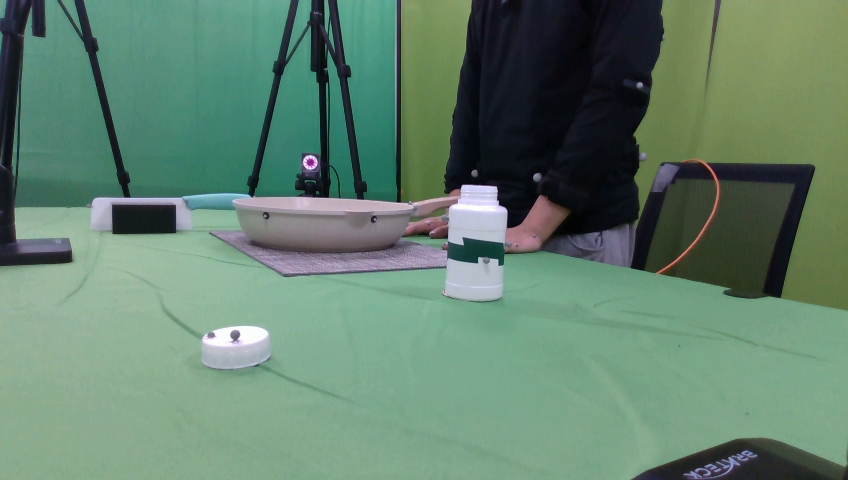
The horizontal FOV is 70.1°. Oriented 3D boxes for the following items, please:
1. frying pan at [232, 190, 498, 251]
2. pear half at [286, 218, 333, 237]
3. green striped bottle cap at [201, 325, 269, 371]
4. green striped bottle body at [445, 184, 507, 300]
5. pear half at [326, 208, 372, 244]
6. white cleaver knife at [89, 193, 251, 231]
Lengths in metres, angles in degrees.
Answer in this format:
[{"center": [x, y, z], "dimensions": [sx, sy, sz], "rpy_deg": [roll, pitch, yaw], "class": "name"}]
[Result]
[{"center": [-0.073, -0.051, 1.048], "dimensions": [0.490, 0.102, 0.305], "rpy_deg": [-11, 13, -27], "class": "frying pan"}, {"center": [-0.197, -0.022, 1.054], "dimensions": [0.088, 0.031, 0.070], "rpy_deg": [-10, 18, -44], "class": "pear half"}, {"center": [-0.129, 0.073, 0.415], "dimensions": [0.044, 0.020, 0.044], "rpy_deg": [2, 8, 0], "class": "green striped bottle cap"}, {"center": [0.055, 0.000, 0.644], "dimensions": [0.063, 0.119, 0.063], "rpy_deg": [2, 7, 0], "class": "green striped bottle body"}, {"center": [-0.128, -0.026, 1.017], "dimensions": [0.076, 0.056, 0.109], "rpy_deg": [6, 4, -19], "class": "pear half"}, {"center": [-0.454, -0.052, 1.114], "dimensions": [0.288, 0.066, 0.021], "rpy_deg": [-4, 14, -27], "class": "white cleaver knife"}]
